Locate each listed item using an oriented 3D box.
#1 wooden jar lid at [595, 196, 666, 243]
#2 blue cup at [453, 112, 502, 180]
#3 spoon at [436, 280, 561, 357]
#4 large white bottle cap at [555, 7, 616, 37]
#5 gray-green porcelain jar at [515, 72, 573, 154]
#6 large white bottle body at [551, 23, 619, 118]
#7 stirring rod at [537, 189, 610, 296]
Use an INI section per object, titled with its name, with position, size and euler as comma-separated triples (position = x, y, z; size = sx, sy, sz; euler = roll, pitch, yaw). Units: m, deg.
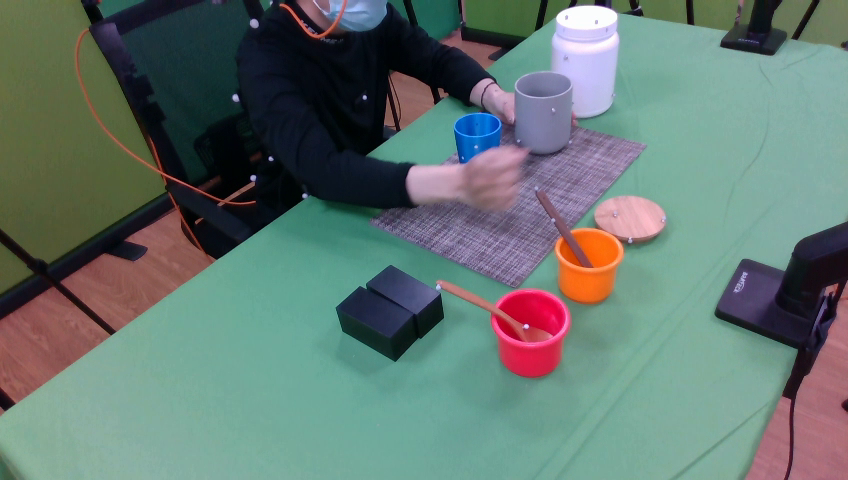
[wooden jar lid]
position = 0.329, -0.031, 0.967
size = 0.108, 0.021, 0.108
euler = -4, 41, 4
[blue cup]
position = 0.098, -0.165, 1.088
size = 0.092, 0.100, 0.092
euler = -3, 40, 3
[spoon]
position = 0.096, 0.095, 0.757
size = 0.195, 0.021, 0.041
euler = 34, 43, -20
[large white bottle cap]
position = 0.311, -0.420, 1.163
size = 0.115, 0.018, 0.114
euler = -4, 40, 4
[gray-green porcelain jar]
position = 0.223, -0.234, 1.130
size = 0.106, 0.127, 0.105
euler = -4, 40, 4
[large white bottle body]
position = 0.321, -0.355, 1.218
size = 0.130, 0.185, 0.130
euler = -4, 41, 4
[stirring rod]
position = 0.211, 0.003, 0.854
size = 0.014, 0.006, 0.176
euler = -32, 88, -27
